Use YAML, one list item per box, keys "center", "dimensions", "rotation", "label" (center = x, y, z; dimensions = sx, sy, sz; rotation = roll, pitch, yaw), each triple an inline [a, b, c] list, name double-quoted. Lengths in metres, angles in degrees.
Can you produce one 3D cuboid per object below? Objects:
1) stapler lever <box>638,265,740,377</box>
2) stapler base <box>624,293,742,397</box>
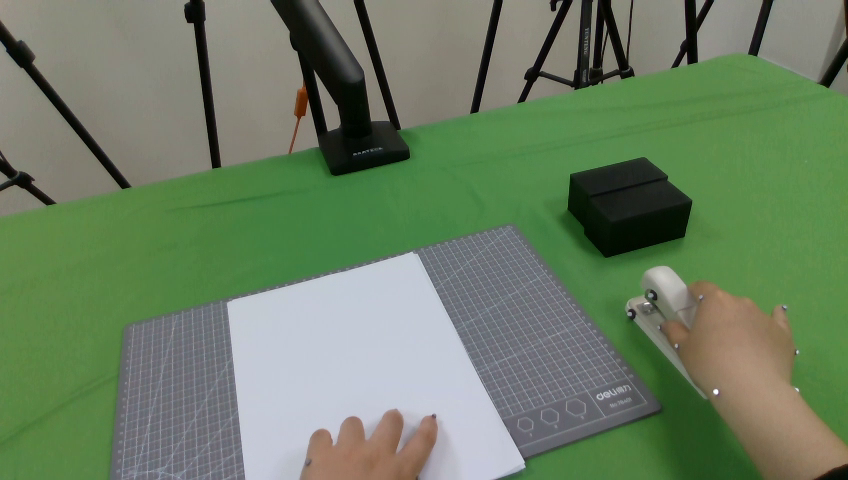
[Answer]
- center: [0.236, 0.068, 0.546]
  dimensions: [0.027, 0.040, 0.116]
  rotation: [-16, 40, -12]
  label: "stapler lever"
- center: [0.237, 0.087, 0.563]
  dimensions: [0.041, 0.024, 0.129]
  rotation: [-16, 40, -12]
  label: "stapler base"
